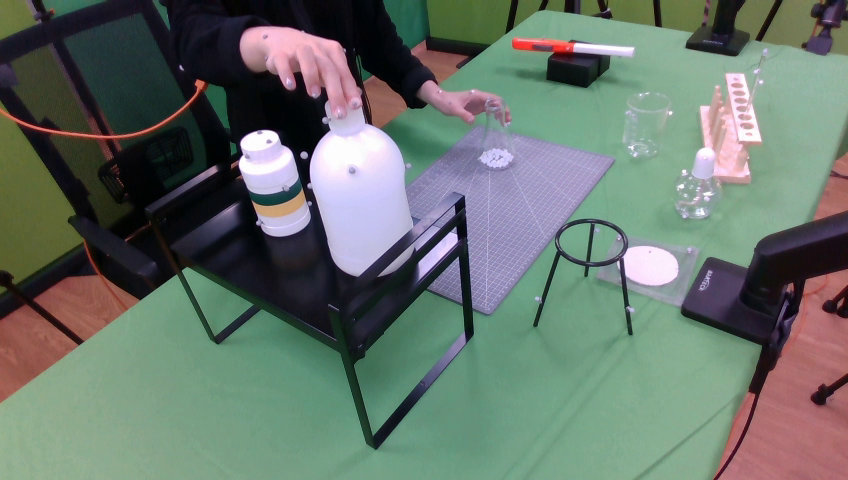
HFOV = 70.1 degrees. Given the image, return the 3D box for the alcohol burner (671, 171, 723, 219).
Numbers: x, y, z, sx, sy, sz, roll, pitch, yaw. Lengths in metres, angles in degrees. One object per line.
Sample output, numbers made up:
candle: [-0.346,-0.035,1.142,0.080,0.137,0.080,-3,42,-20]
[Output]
alcohol burner: [0.434,-0.093,0.955,0.078,0.119,0.077,-3,43,4]

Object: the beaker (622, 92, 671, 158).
beaker: [0.402,-0.210,1.106,0.074,0.101,0.083,-9,40,-2]

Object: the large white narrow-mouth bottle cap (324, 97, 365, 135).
large white narrow-mouth bottle cap: [-0.076,-0.120,0.585,0.038,0.024,0.037,-3,42,3]

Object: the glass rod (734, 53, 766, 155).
glass rod: [0.540,-0.219,1.006,0.008,0.201,0.008,-5,45,6]

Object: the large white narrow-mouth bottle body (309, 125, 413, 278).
large white narrow-mouth bottle body: [-0.068,-0.057,0.644,0.102,0.195,0.101,-3,42,4]

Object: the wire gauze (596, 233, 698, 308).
wire gauze: [0.331,0.038,0.897,0.124,0.011,0.121,18,47,26]

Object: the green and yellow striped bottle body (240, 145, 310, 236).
green and yellow striped bottle body: [-0.181,-0.068,0.729,0.063,0.120,0.063,-4,40,4]

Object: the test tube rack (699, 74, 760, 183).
test tube rack: [0.547,-0.208,1.095,0.066,0.085,0.242,6,42,16]

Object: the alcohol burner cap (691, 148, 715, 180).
alcohol burner cap: [0.432,-0.120,0.930,0.034,0.048,0.033,-7,48,8]

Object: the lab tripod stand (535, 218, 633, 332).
lab tripod stand: [0.216,0.050,0.803,0.148,0.132,0.147,-4,42,4]

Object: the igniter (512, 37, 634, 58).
igniter: [0.328,-0.433,1.360,0.275,0.025,0.057,12,33,20]

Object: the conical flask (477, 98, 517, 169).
conical flask: [0.133,-0.198,1.108,0.075,0.122,0.075,-4,41,4]

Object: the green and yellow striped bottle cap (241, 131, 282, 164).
green and yellow striped bottle cap: [-0.187,-0.107,0.695,0.045,0.020,0.045,-3,39,3]
